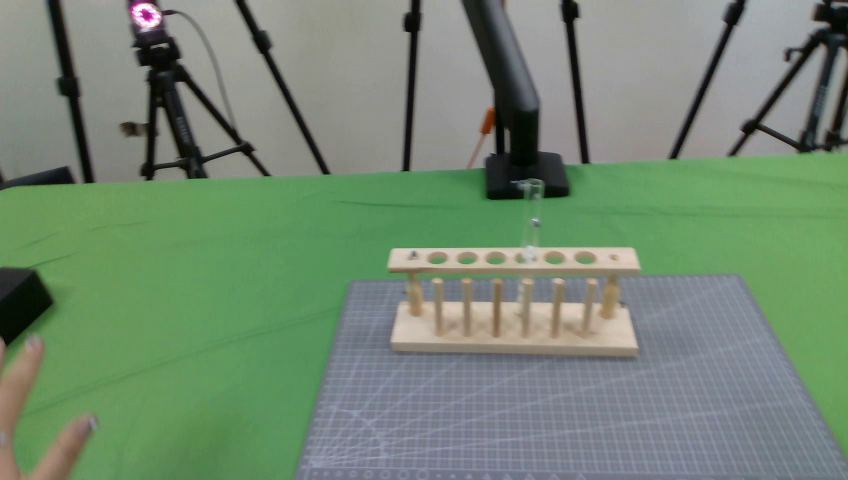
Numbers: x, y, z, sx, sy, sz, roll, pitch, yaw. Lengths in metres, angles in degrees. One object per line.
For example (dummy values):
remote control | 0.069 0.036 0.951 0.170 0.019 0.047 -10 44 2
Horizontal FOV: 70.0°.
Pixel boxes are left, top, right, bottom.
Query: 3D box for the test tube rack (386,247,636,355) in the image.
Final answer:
test tube rack | 0.084 0.061 0.610 0.242 0.086 0.066 0 34 7

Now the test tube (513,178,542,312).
test tube | 0.101 0.009 0.595 0.017 0.151 0.017 0 31 0
